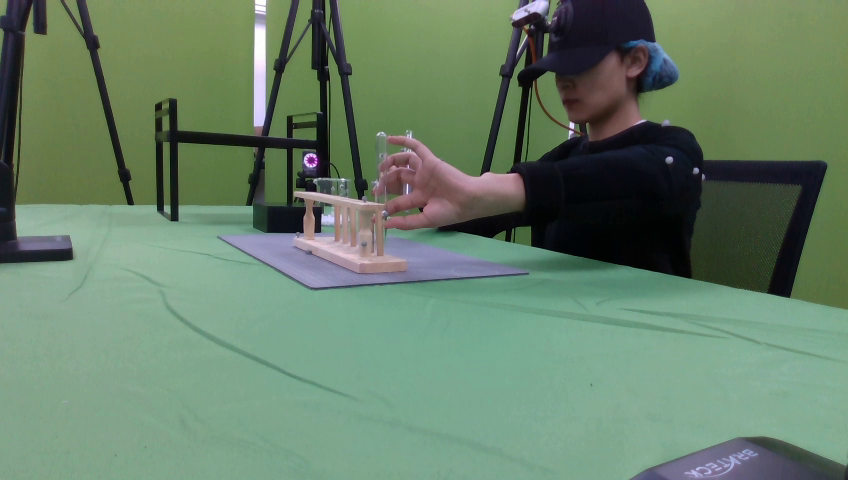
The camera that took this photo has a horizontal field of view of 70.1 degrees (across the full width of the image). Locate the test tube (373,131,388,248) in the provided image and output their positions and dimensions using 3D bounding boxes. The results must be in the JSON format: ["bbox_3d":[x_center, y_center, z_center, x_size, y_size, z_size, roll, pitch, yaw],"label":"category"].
[{"bbox_3d":[-0.056,-0.063,0.777,0.017,0.150,0.017,2,9,0],"label":"test tube"}]

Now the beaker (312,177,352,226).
[{"bbox_3d":[-0.194,-0.081,1.266,0.084,0.100,0.073,-3,9,-29],"label":"beaker"}]

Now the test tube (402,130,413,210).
[{"bbox_3d":[-0.028,-0.122,1.043,0.017,0.150,0.017,1,-19,1],"label":"test tube"}]

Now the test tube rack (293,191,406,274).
[{"bbox_3d":[-0.110,-0.017,0.836,0.067,0.085,0.241,-2,9,-31],"label":"test tube rack"}]
